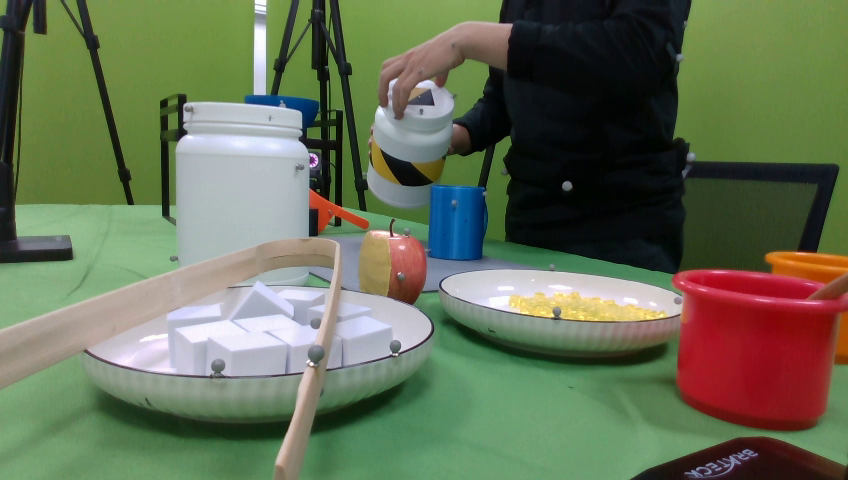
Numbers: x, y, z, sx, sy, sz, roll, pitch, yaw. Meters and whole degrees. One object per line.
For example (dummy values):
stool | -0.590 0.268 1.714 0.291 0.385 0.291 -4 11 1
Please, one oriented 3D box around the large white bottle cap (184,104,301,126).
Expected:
large white bottle cap | -0.184 -0.126 0.618 0.115 0.018 0.115 2 8 0

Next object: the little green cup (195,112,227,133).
little green cup | -0.412 -0.228 1.171 0.061 0.038 0.061 3 8 0

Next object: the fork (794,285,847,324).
fork | 0.332 0.018 0.443 0.028 0.018 0.207 -1 -36 -15

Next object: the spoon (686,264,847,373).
spoon | 0.214 0.032 0.328 0.042 0.021 0.193 -3 -35 -26

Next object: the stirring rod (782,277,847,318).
stirring rod | 0.344 0.019 0.460 0.014 0.006 0.176 -13 -27 -30

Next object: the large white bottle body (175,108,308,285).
large white bottle body | -0.188 -0.042 0.630 0.131 0.184 0.130 2 8 0

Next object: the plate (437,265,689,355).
plate | 0.114 0.057 0.517 0.209 0.038 0.209 3 8 0

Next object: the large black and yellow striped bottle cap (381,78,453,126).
large black and yellow striped bottle cap | -0.010 -0.219 0.954 0.115 0.019 0.114 7 43 -7

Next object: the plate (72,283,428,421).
plate | -0.102 0.066 0.381 0.208 0.039 0.207 2 7 0

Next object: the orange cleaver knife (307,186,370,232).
orange cleaver knife | -0.197 -0.056 1.141 0.212 0.077 0.012 29 0 -35

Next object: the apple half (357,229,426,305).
apple half | -0.026 0.028 0.570 0.053 0.074 0.080 3 2 -28

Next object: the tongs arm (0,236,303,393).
tongs arm | -0.157 0.038 0.351 0.028 0.028 0.388 -3 8 12

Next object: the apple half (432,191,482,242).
apple half | 0.048 -0.037 0.906 0.081 0.081 0.033 2 15 -1

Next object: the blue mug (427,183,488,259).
blue mug | 0.059 -0.031 0.907 0.082 0.106 0.117 9 10 42

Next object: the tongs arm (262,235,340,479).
tongs arm | -0.074 0.039 0.349 0.051 0.026 0.384 -1 9 -3

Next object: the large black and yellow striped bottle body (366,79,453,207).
large black and yellow striped bottle body | -0.024 -0.161 1.013 0.131 0.184 0.130 7 45 -7

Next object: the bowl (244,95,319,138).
bowl | -0.293 -0.251 1.249 0.151 0.077 0.151 2 8 0
